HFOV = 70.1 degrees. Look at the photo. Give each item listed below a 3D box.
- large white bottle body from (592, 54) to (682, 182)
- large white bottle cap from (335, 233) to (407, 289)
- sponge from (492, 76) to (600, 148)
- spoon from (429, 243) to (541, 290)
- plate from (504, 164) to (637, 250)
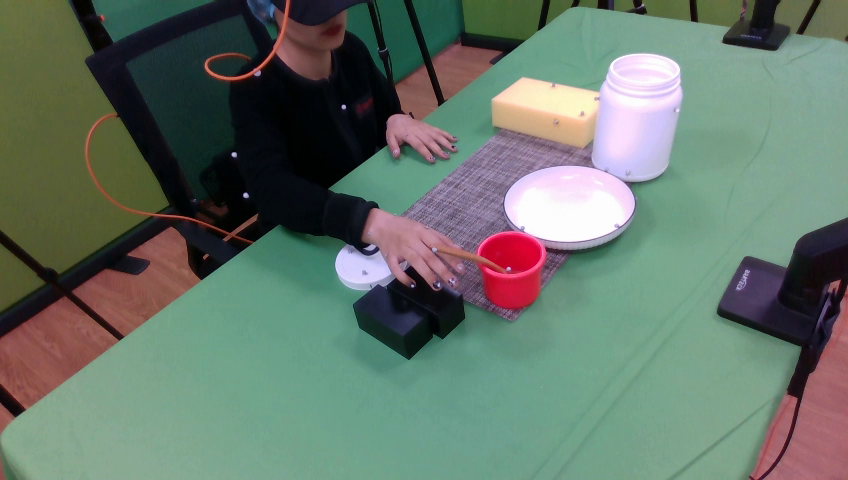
[{"bbox_3d":[0.361,-0.207,1.027,0.130,0.185,0.130,-3,40,3],"label":"large white bottle body"},{"bbox_3d":[-0.085,0.032,0.961,0.115,0.018,0.114,-6,41,6],"label":"large white bottle cap"},{"bbox_3d":[0.254,-0.259,1.207,0.205,0.061,0.118,22,47,31],"label":"sponge"},{"bbox_3d":[0.086,0.033,0.826,0.195,0.021,0.041,23,28,-33],"label":"spoon"},{"bbox_3d":[0.234,-0.051,0.981,0.209,0.038,0.208,-5,40,5],"label":"plate"}]
